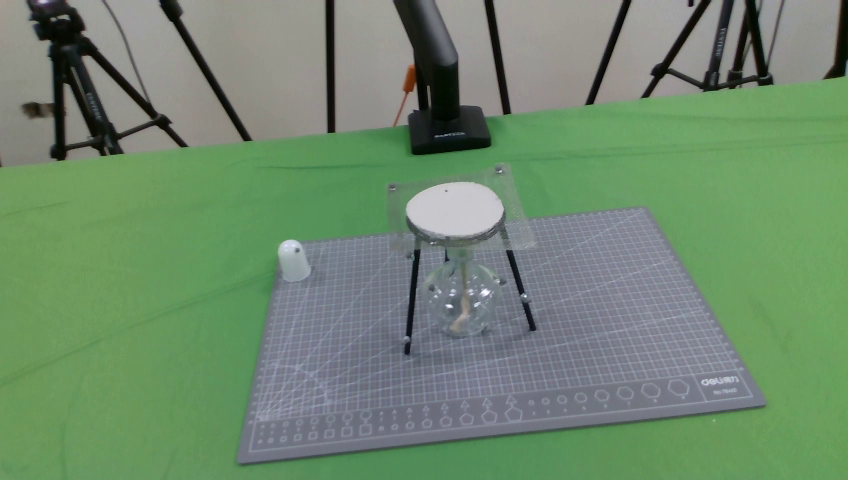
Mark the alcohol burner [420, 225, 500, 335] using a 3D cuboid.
[{"bbox_3d":[0.034,0.034,0.583,0.078,0.120,0.077,-2,38,2],"label":"alcohol burner"}]

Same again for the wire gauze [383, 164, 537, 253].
[{"bbox_3d":[0.026,-0.028,0.537,0.125,0.011,0.120,-5,38,-2],"label":"wire gauze"}]

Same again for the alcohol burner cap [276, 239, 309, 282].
[{"bbox_3d":[-0.150,0.020,0.681,0.034,0.048,0.033,-3,39,2],"label":"alcohol burner cap"}]

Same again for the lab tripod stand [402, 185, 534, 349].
[{"bbox_3d":[0.035,0.024,0.579,0.148,0.132,0.147,-2,37,2],"label":"lab tripod stand"}]
